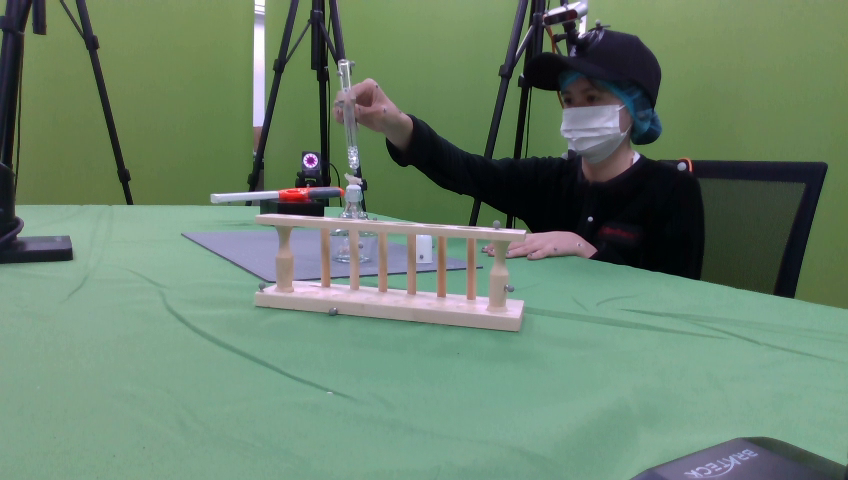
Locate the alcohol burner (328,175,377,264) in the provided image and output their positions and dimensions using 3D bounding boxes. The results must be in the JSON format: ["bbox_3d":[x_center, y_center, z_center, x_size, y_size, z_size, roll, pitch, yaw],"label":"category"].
[{"bbox_3d":[-0.098,-0.028,0.819,0.078,0.119,0.078,1,8,0],"label":"alcohol burner"}]

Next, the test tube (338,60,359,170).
[{"bbox_3d":[-0.103,-0.169,0.817,0.017,0.150,0.017,-6,-5,0],"label":"test tube"}]

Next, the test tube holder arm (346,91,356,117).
[{"bbox_3d":[-0.102,-0.188,0.842,0.010,0.015,0.087,-3,-3,-10],"label":"test tube holder arm"}]

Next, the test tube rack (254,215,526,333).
[{"bbox_3d":[-0.030,0.025,0.557,0.242,0.085,0.067,4,7,12],"label":"test tube rack"}]

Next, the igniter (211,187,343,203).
[{"bbox_3d":[-0.300,-0.095,1.266,0.278,0.025,0.057,-6,12,-34],"label":"igniter"}]

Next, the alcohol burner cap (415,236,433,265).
[{"bbox_3d":[-0.004,0.011,0.835,0.034,0.048,0.034,2,7,0],"label":"alcohol burner cap"}]

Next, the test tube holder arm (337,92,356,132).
[{"bbox_3d":[-0.112,-0.186,0.886,0.013,0.015,0.178,-3,-3,-3],"label":"test tube holder arm"}]
